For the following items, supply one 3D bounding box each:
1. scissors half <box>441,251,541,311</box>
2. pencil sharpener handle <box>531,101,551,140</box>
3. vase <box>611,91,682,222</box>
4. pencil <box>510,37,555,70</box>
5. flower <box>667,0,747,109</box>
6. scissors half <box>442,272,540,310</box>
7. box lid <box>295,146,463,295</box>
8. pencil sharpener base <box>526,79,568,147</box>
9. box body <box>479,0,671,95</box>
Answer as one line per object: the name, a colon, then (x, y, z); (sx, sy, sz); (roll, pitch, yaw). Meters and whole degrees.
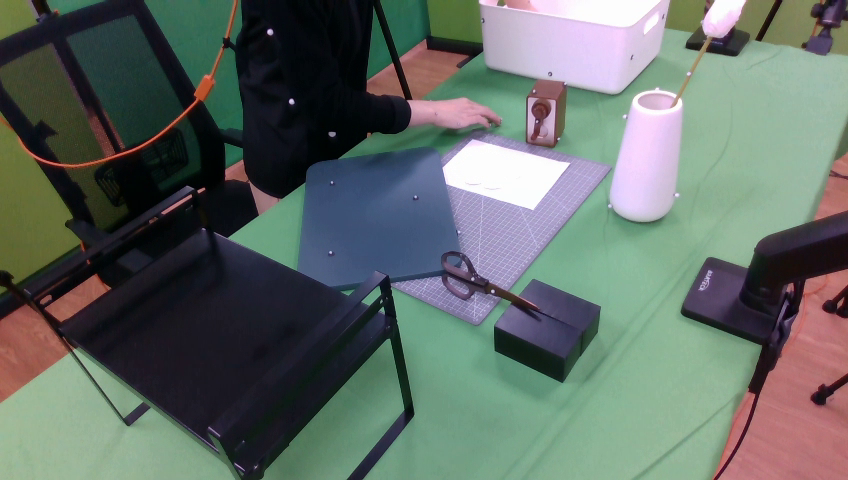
scissors half: (0.087, 0.056, 0.824); (0.173, 0.040, 0.013); (29, 44, 36)
pencil sharpener handle: (0.211, -0.220, 1.118); (0.036, 0.068, 0.030); (17, 46, 17)
vase: (0.348, -0.125, 0.935); (0.098, 0.201, 0.097); (-3, 40, 3)
pencil: (0.264, -0.453, 1.468); (0.012, 0.012, 0.194); (26, 51, 33)
flower: (0.354, -0.187, 0.879); (0.038, 0.362, 0.044); (30, 48, 14)
scissors half: (0.089, 0.074, 0.833); (0.013, 0.040, 0.173); (-24, 23, -38)
box lid: (-0.084, -0.048, 1.052); (0.263, 0.015, 0.369); (-9, 40, 0)
pencil sharpener base: (0.235, -0.242, 1.160); (0.061, 0.107, 0.077); (12, 45, 21)
box body: (0.339, -0.480, 1.381); (0.361, 0.161, 0.255); (22, 48, 30)
